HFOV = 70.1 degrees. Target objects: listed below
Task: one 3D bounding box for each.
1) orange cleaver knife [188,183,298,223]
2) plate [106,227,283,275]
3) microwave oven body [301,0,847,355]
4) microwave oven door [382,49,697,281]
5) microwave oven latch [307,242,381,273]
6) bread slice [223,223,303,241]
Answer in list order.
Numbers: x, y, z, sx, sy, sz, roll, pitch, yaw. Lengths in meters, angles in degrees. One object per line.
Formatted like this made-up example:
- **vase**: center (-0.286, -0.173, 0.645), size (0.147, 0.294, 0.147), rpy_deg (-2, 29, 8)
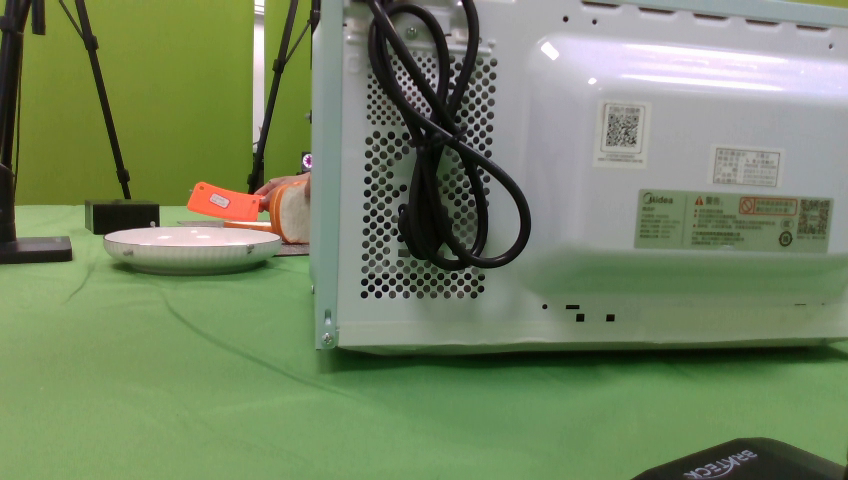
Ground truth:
- **orange cleaver knife**: center (-0.358, -0.069, 1.209), size (0.212, 0.077, 0.012), rpy_deg (7, -29, -25)
- **plate**: center (-0.288, 0.013, 0.772), size (0.208, 0.039, 0.207), rpy_deg (2, 7, 0)
- **microwave oven body**: center (0.120, -0.053, 0.535), size (0.443, 0.260, 0.325), rpy_deg (2, 7, -11)
- **microwave oven door**: center (0.135, -0.077, 0.685), size (0.357, 0.243, 0.039), rpy_deg (1, 8, -12)
- **microwave oven latch**: center (-0.086, 0.019, 0.656), size (0.079, 0.029, 0.030), rpy_deg (2, 7, -10)
- **bread slice**: center (-0.274, -0.013, 1.041), size (0.135, 0.018, 0.106), rpy_deg (8, -3, -42)
